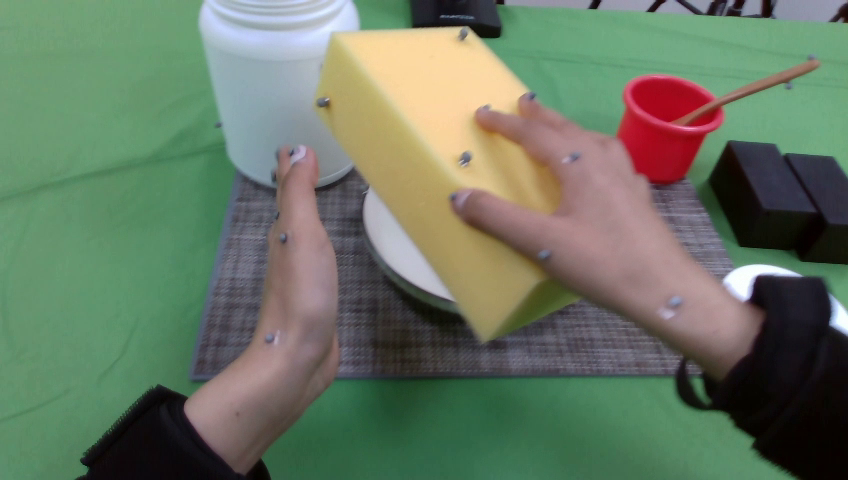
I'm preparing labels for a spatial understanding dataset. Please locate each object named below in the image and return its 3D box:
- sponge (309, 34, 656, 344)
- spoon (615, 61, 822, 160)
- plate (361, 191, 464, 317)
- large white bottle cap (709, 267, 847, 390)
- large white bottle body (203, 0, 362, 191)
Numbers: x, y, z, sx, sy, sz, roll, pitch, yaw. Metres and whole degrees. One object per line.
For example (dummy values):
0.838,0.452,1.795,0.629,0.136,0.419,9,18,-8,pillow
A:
0.031,-0.046,0.392,0.118,0.061,0.205,-19,60,-38,sponge
0.282,-0.125,0.593,0.193,0.022,0.041,-26,36,31,spoon
0.050,-0.009,0.530,0.209,0.038,0.207,4,46,-3,plate
0.295,0.069,0.499,0.115,0.018,0.113,5,46,-5,large white bottle cap
-0.120,-0.151,0.542,0.131,0.186,0.129,3,46,-3,large white bottle body
